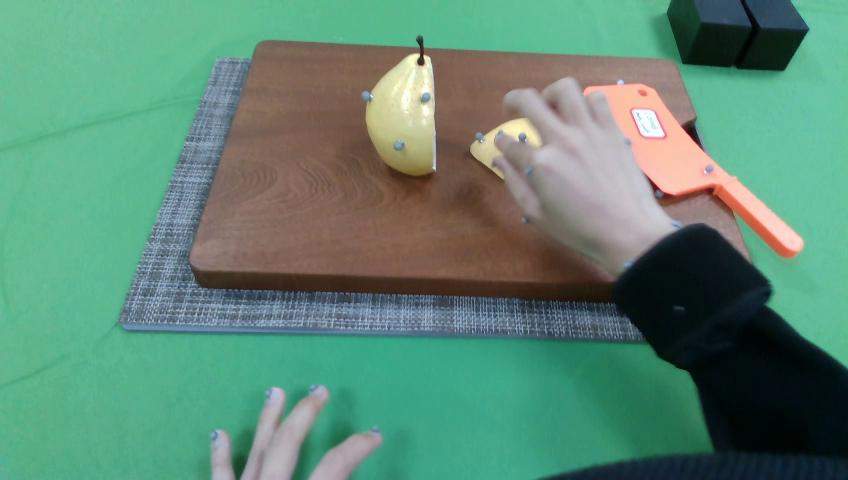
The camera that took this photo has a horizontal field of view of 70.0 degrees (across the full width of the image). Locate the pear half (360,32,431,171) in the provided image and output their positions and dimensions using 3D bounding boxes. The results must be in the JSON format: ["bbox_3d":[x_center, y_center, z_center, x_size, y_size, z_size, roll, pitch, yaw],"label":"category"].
[{"bbox_3d":[-0.020,-0.104,0.444,0.056,0.111,0.075,-3,49,-5],"label":"pear half"}]

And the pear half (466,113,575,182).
[{"bbox_3d":[0.079,-0.081,0.484,0.088,0.031,0.070,9,46,-1],"label":"pear half"}]

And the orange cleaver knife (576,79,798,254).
[{"bbox_3d":[0.203,-0.065,0.486,0.077,0.012,0.209,-20,59,-22],"label":"orange cleaver knife"}]
